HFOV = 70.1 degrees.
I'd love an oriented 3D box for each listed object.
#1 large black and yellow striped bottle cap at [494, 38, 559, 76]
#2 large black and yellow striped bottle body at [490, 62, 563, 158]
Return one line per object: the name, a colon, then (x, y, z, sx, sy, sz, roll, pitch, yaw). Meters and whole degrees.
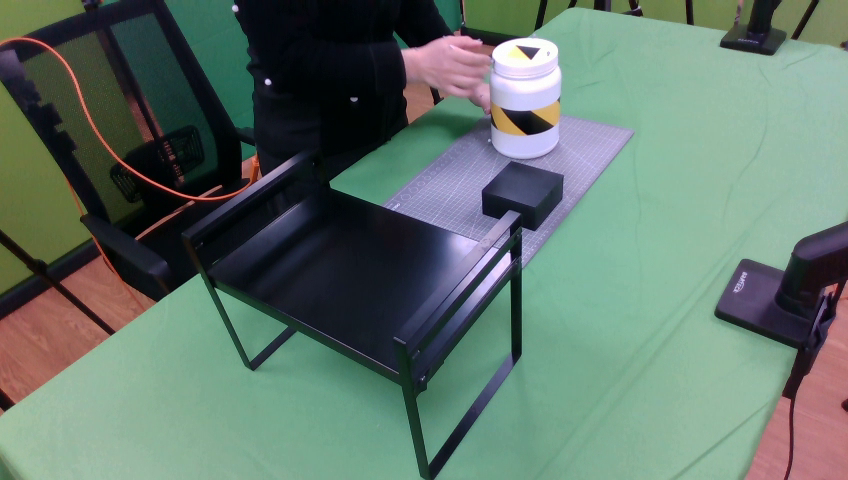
large black and yellow striped bottle cap: (0.181, -0.324, 1.068, 0.115, 0.019, 0.114, -5, 40, 5)
large black and yellow striped bottle body: (0.190, -0.261, 1.123, 0.131, 0.185, 0.130, -5, 41, 4)
